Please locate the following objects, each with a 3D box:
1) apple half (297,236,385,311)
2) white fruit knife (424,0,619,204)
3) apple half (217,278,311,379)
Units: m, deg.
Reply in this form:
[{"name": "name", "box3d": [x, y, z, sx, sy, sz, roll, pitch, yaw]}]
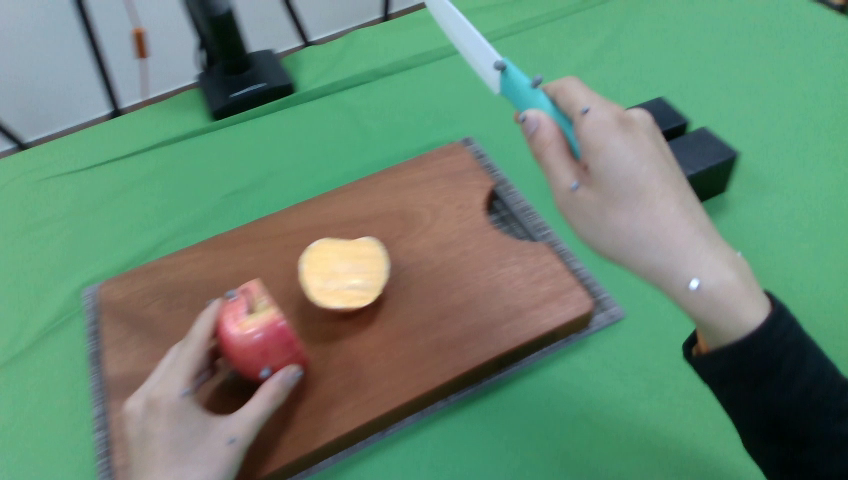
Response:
[{"name": "apple half", "box3d": [-0.073, 0.034, 0.541, 0.081, 0.033, 0.080, 2, 58, -3]}, {"name": "white fruit knife", "box3d": [0.055, -0.107, 0.393, 0.016, 0.027, 0.206, -25, 69, -38]}, {"name": "apple half", "box3d": [-0.133, 0.078, 0.484, 0.053, 0.075, 0.080, -36, 56, -16]}]
